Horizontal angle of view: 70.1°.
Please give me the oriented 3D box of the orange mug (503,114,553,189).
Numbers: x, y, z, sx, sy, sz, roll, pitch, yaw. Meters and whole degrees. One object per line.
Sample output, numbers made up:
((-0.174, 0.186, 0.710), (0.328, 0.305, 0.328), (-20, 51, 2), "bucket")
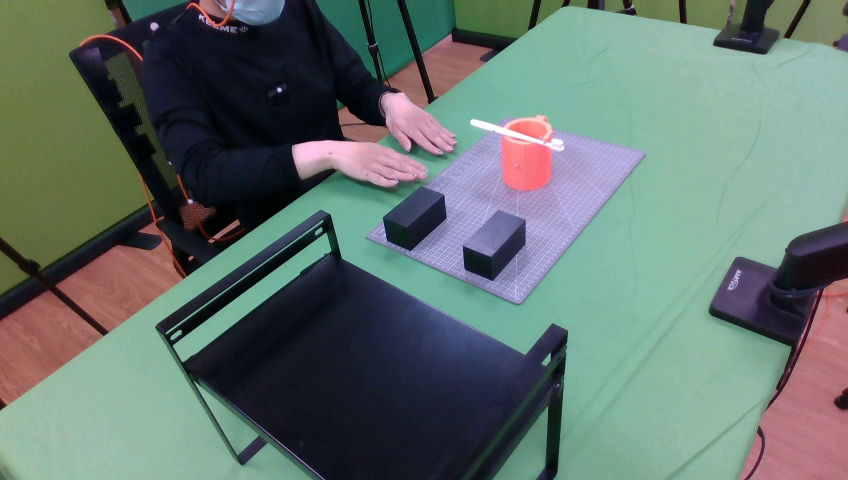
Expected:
((0.190, -0.164, 1.071), (0.083, 0.101, 0.126), (16, 50, 25), "orange mug")

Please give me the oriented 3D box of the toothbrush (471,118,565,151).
((0.154, -0.181, 1.015), (0.180, 0.017, 0.014), (23, 61, 30), "toothbrush")
